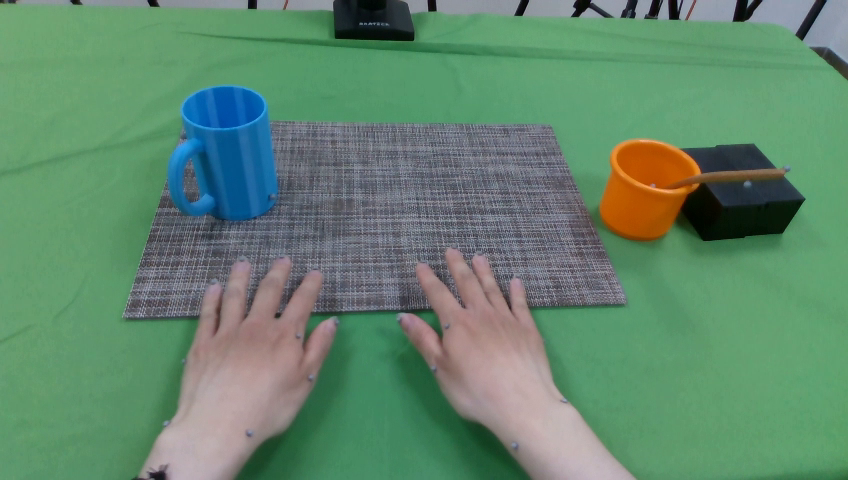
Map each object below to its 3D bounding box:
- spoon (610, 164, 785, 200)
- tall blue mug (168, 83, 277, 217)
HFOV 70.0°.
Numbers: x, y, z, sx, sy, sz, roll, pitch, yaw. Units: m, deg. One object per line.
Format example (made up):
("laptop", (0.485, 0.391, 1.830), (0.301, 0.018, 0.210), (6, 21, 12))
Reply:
("spoon", (0.259, -0.059, 0.596), (0.042, 0.193, 0.021), (-18, 93, -25))
("tall blue mug", (-0.189, -0.076, 0.582), (0.078, 0.109, 0.106), (6, 44, -2))
